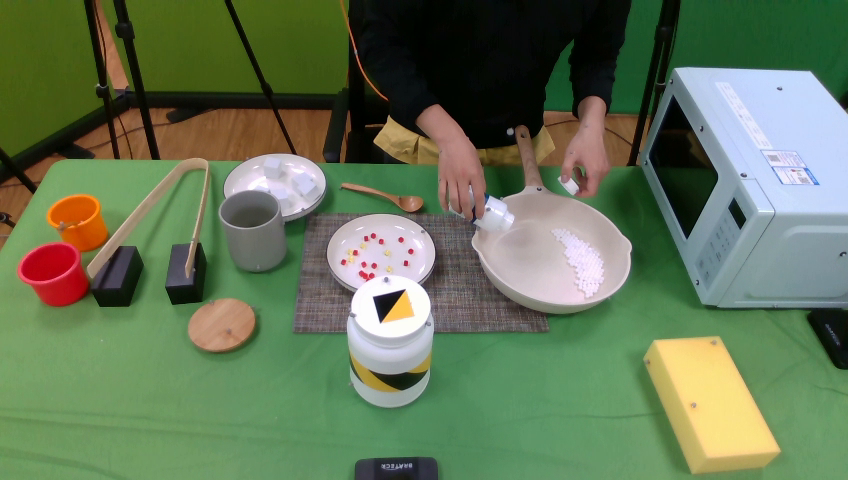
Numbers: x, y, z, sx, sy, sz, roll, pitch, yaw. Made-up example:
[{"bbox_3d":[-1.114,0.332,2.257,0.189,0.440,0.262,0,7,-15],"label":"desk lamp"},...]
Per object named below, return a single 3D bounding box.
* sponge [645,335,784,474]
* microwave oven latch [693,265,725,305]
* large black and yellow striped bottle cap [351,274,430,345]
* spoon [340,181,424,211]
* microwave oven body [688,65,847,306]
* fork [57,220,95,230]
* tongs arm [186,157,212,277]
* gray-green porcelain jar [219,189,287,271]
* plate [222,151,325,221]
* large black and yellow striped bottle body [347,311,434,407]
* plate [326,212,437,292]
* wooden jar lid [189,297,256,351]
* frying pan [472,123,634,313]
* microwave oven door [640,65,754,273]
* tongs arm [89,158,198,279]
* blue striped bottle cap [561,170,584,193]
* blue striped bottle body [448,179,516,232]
[{"bbox_3d":[0.449,0.253,0.956,0.118,0.061,0.205,-4,46,-7],"label":"sponge"},{"bbox_3d":[0.523,0.082,1.116,0.030,0.029,0.078,2,46,-1],"label":"microwave oven latch"},{"bbox_3d":[-0.048,0.097,0.867,0.115,0.019,0.114,3,48,-3],"label":"large black and yellow striped bottle cap"},{"bbox_3d":[-0.090,-0.100,1.282,0.193,0.022,0.041,18,66,12],"label":"spoon"},{"bbox_3d":[0.669,-0.111,1.176,0.326,0.261,0.439,0,46,-3],"label":"microwave oven body"},{"bbox_3d":[-0.624,-0.027,1.087,0.028,0.207,0.018,-3,92,-17],"label":"fork"},{"bbox_3d":[-0.445,-0.058,1.168,0.051,0.026,0.382,-5,37,-6],"label":"tongs arm"},{"bbox_3d":[-0.310,-0.014,1.113,0.106,0.127,0.105,2,46,-2],"label":"gray-green porcelain jar"},{"bbox_3d":[-0.310,-0.106,1.262,0.208,0.039,0.206,3,46,-2],"label":"plate"},{"bbox_3d":[-0.052,0.157,0.929,0.131,0.185,0.130,2,47,-2],"label":"large black and yellow striped bottle body"},{"bbox_3d":[-0.080,0.030,1.143,0.209,0.038,0.208,3,46,-2],"label":"plate"},{"bbox_3d":[-0.342,0.145,1.033,0.108,0.021,0.107,2,45,-2],"label":"wooden jar lid"},{"bbox_3d":[0.235,-0.060,1.208,0.307,0.103,0.484,2,54,-6],"label":"frying pan"},{"bbox_3d":[0.524,-0.148,1.193,0.039,0.245,0.353,0,47,-3],"label":"microwave oven door"},{"bbox_3d":[-0.529,-0.057,1.164,0.028,0.028,0.385,1,36,8],"label":"tongs arm"},{"bbox_3d":[0.281,-0.110,1.143,0.045,0.020,0.044,29,34,-22],"label":"blue striped bottle cap"},{"bbox_3d":[0.111,-0.059,1.127,0.121,0.063,0.063,28,48,-6],"label":"blue striped bottle body"}]
